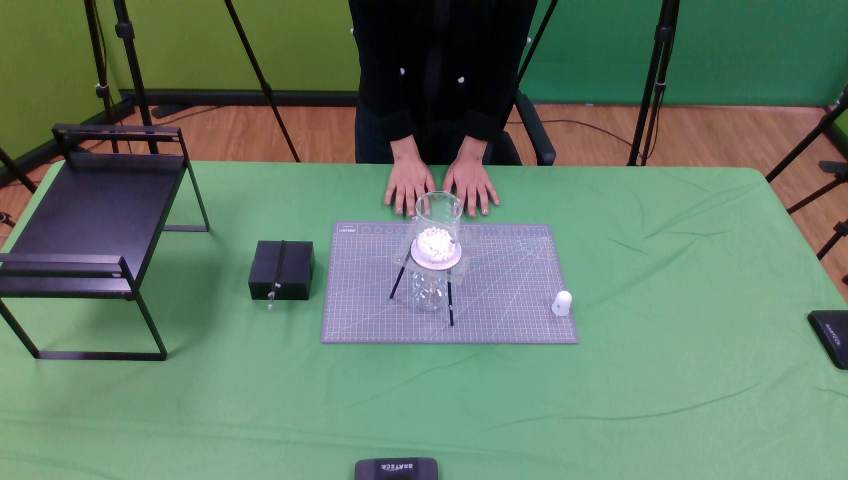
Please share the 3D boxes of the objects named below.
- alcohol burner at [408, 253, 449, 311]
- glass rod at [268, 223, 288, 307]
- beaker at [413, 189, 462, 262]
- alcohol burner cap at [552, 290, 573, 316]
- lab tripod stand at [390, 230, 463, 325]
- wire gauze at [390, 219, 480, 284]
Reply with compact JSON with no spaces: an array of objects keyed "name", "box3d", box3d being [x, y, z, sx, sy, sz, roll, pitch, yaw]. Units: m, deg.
[{"name":"alcohol burner","box3d":[0.011,0.069,1.061,0.078,0.120,0.077,1,46,0]},{"name":"glass rod","box3d":[-0.259,0.041,1.080,0.008,0.008,0.198,2,46,-2]},{"name":"beaker","box3d":[0.022,-0.018,0.973,0.074,0.101,0.083,-19,50,-19]},{"name":"alcohol burner cap","box3d":[0.250,0.109,1.088,0.034,0.048,0.033,3,46,-3]},{"name":"lab tripod stand","box3d":[0.014,0.060,1.056,0.148,0.132,0.147,1,48,-1]},{"name":"wire gauze","box3d":[0.020,0.013,1.011,0.125,0.011,0.121,14,46,14]}]
